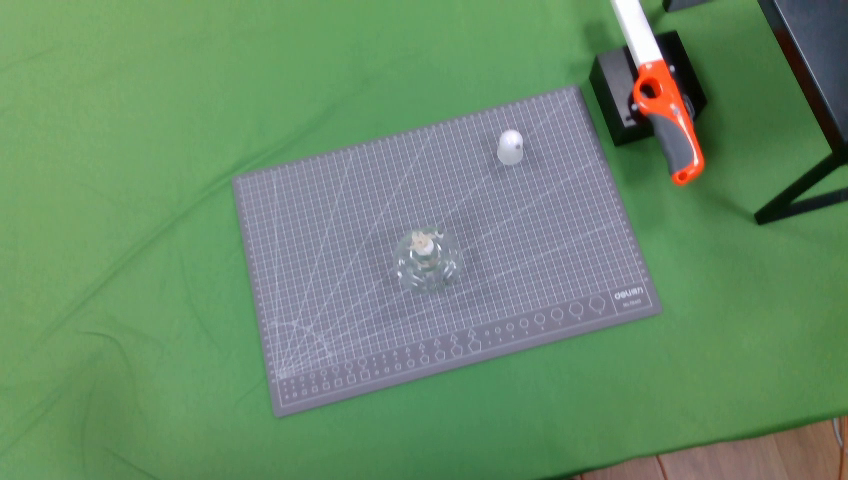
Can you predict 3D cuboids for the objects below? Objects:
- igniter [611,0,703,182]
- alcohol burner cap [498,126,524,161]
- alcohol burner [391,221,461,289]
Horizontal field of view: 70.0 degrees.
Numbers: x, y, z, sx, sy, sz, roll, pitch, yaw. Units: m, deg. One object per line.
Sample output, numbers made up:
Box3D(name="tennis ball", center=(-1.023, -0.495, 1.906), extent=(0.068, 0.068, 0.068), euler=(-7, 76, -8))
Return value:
Box3D(name="igniter", center=(0.262, -0.193, 0.695), extent=(0.057, 0.025, 0.274), euler=(-12, 71, 1))
Box3D(name="alcohol burner cap", center=(0.104, -0.118, 0.723), extent=(0.034, 0.048, 0.033), euler=(-1, 75, 5))
Box3D(name="alcohol burner", center=(0.001, 0.012, 0.656), extent=(0.078, 0.120, 0.077), euler=(-1, 75, 5))
